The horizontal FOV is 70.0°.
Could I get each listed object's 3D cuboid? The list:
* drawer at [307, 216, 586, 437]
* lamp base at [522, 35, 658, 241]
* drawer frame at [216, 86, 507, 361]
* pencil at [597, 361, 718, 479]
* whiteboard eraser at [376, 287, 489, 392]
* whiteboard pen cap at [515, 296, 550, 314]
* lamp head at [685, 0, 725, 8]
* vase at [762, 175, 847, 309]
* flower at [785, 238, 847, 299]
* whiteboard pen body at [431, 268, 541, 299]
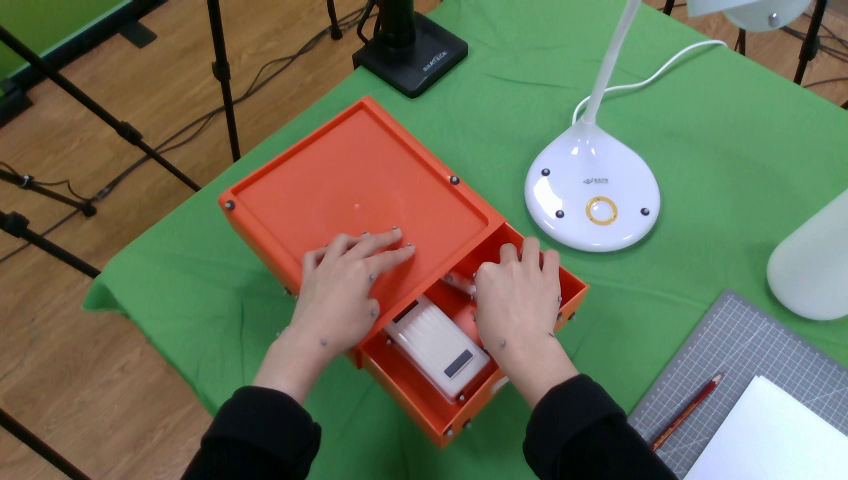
[{"bbox_3d":[0.013,0.046,0.591,0.194,0.074,0.210,-41,67,-19],"label":"drawer"},{"bbox_3d":[0.193,-0.117,0.666,0.161,0.182,0.177,-12,59,-6],"label":"lamp base"},{"bbox_3d":[-0.062,-0.022,0.623,0.201,0.083,0.212,-40,73,-18],"label":"drawer frame"},{"bbox_3d":[0.233,0.181,0.598,0.194,0.012,0.012,-37,66,-19],"label":"pencil"},{"bbox_3d":[0.005,0.090,0.581,0.055,0.042,0.111,-39,61,-20],"label":"whiteboard eraser"},{"bbox_3d":[0.104,0.061,0.586,0.033,0.018,0.018,16,61,27],"label":"whiteboard pen cap"},{"bbox_3d":[0.218,-0.224,0.394,0.112,0.112,0.123,-19,101,-9],"label":"lamp head"},{"bbox_3d":[0.417,-0.009,0.593,0.098,0.201,0.097,-1,60,2],"label":"vase"},{"bbox_3d":[0.432,-0.056,0.525,0.038,0.364,0.044,26,47,7],"label":"flower"},{"bbox_3d":[0.051,0.043,0.610,0.140,0.017,0.017,11,60,27],"label":"whiteboard pen body"}]
